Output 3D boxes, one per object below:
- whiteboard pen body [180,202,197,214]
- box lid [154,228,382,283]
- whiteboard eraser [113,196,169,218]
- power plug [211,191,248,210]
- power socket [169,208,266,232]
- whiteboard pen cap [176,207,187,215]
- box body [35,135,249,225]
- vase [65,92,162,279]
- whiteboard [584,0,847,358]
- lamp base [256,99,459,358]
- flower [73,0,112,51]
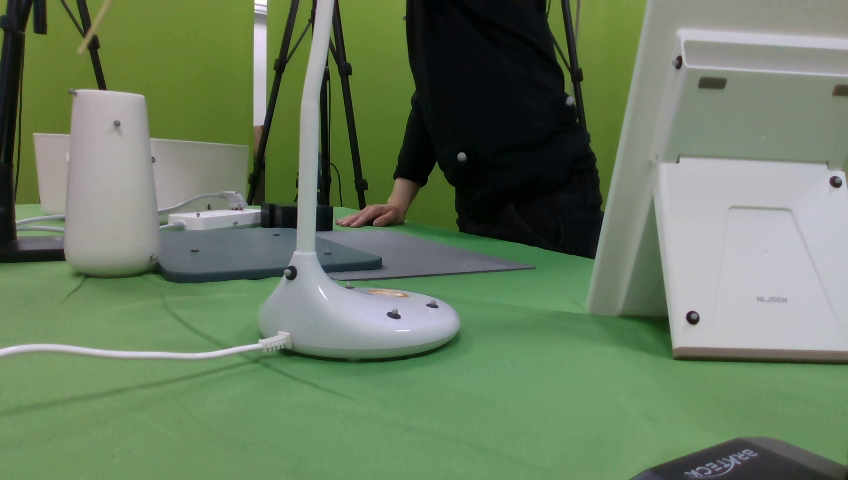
[{"bbox_3d":[-0.519,-0.070,1.331,0.017,0.017,0.140,1,9,-11],"label":"whiteboard pen body"},{"bbox_3d":[-0.250,0.014,0.853,0.265,0.015,0.369,-3,9,-32],"label":"box lid"},{"bbox_3d":[-0.546,-0.064,1.174,0.055,0.042,0.113,4,5,4],"label":"whiteboard eraser"},{"bbox_3d":[-0.384,-0.071,1.206,0.072,0.052,0.035,1,8,28],"label":"power plug"},{"bbox_3d":[-0.379,-0.038,1.129,0.072,0.032,0.227,4,8,18],"label":"power socket"},{"bbox_3d":[-0.511,-0.062,1.274,0.018,0.018,0.033,1,9,-10],"label":"whiteboard pen cap"},{"bbox_3d":[-0.561,-0.127,1.258,0.254,0.160,0.365,4,8,13],"label":"box body"},{"bbox_3d":[-0.348,-0.060,0.673,0.098,0.200,0.098,1,7,0],"label":"vase"},{"bbox_3d":[0.269,-0.034,0.466,0.217,0.305,0.143,2,27,-1],"label":"whiteboard"},{"bbox_3d":[-0.055,-0.013,0.463,0.160,0.180,0.180,6,11,27],"label":"lamp base"},{"bbox_3d":[-0.526,-0.447,1.054,0.038,0.361,0.044,-23,-46,39],"label":"flower"}]
